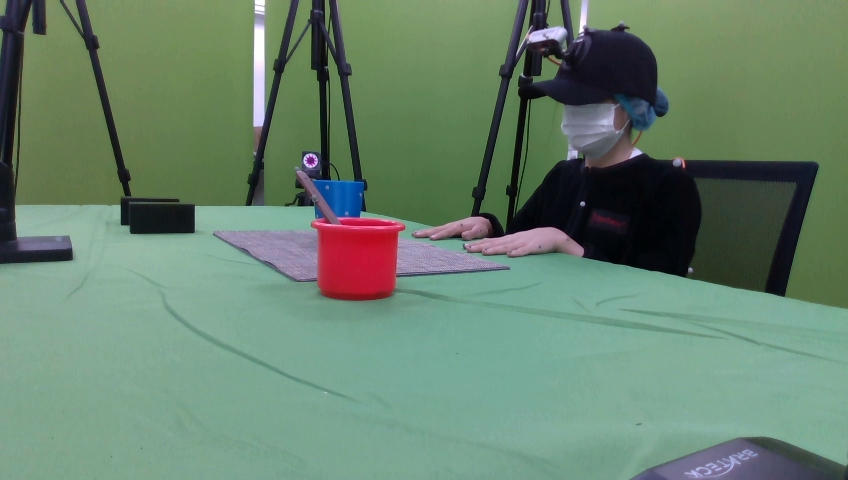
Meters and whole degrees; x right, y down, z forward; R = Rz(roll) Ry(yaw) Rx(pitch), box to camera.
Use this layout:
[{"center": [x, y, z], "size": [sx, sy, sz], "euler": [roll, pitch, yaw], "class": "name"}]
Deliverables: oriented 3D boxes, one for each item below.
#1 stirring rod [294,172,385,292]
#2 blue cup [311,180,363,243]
[{"center": [-0.092, -0.012, 0.639], "size": [0.014, 0.006, 0.175], "euler": [-2, 48, -53], "class": "stirring rod"}, {"center": [-0.144, -0.047, 0.997], "size": [0.093, 0.100, 0.092], "euler": [2, 6, 0], "class": "blue cup"}]
